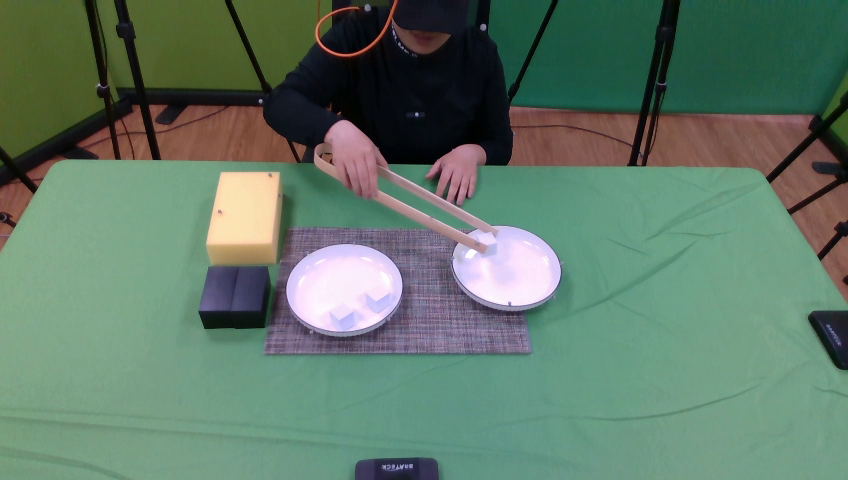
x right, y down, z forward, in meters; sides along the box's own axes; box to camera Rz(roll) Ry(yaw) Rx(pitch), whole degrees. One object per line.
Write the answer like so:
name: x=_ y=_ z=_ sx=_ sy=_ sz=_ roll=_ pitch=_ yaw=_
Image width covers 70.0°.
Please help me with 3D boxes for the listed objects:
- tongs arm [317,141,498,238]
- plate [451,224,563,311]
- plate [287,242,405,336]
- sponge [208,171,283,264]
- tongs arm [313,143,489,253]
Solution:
tongs arm: x=-0.035 y=-0.099 z=1.158 sx=0.387 sy=0.028 sz=0.028 roll=28 pitch=53 yaw=9
plate: x=0.154 y=0.053 z=1.140 sx=0.209 sy=0.038 sz=0.208 roll=2 pitch=47 yaw=-2
plate: x=-0.138 y=0.090 z=1.085 sx=0.208 sy=0.039 sz=0.206 roll=2 pitch=46 yaw=-2
sponge: x=-0.346 y=-0.048 z=1.191 sx=0.118 sy=0.061 sz=0.205 roll=-2 pitch=46 yaw=-6
tongs arm: x=-0.048 y=-0.081 z=1.139 sx=0.384 sy=0.026 sz=0.050 roll=26 pitch=50 yaw=7
